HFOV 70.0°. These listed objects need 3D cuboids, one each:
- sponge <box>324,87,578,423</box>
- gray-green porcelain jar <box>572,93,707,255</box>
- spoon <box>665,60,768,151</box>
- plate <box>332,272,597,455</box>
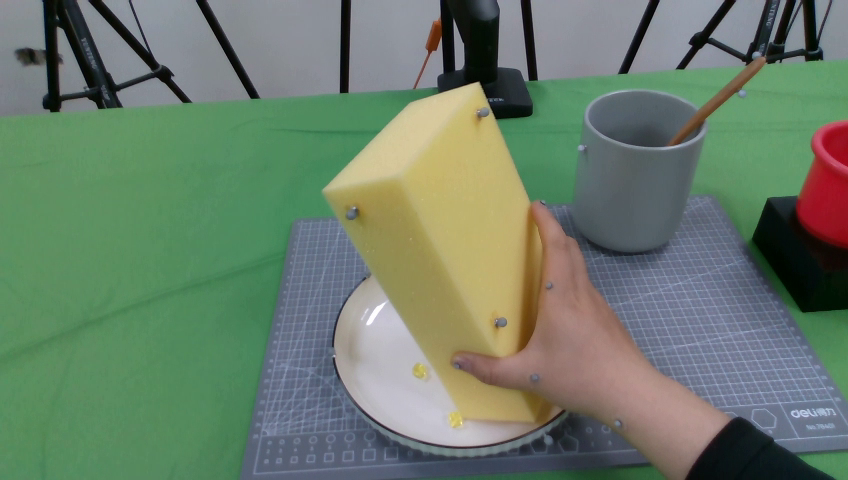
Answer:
[{"bbox_3d":[0.033,0.016,0.423,0.060,0.209,0.117,-7,35,36],"label":"sponge"},{"bbox_3d":[0.198,-0.058,0.574,0.106,0.127,0.105,-2,41,2],"label":"gray-green porcelain jar"},{"bbox_3d":[0.226,-0.081,0.541,0.022,0.194,0.041,28,38,-6],"label":"spoon"},{"bbox_3d":[0.032,0.083,0.491,0.207,0.039,0.205,-2,41,2],"label":"plate"}]
